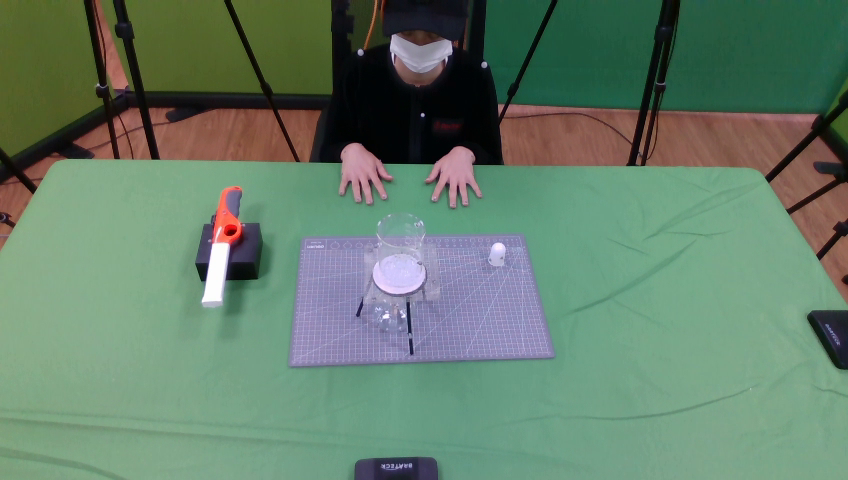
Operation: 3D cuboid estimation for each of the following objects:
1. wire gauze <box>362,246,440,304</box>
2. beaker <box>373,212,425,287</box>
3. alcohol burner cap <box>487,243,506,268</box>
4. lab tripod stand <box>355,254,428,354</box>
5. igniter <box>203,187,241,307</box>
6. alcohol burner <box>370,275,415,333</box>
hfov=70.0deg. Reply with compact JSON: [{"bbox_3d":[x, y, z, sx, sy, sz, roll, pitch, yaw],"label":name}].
[{"bbox_3d":[-0.038,0.052,0.972,0.121,0.011,0.124,0,44,-5],"label":"wire gauze"},{"bbox_3d":[-0.036,0.019,0.936,0.074,0.101,0.083,-29,54,-26],"label":"beaker"},{"bbox_3d":[0.141,0.027,1.166,0.034,0.048,0.033,2,45,-2],"label":"alcohol burner cap"},{"bbox_3d":[-0.046,0.100,1.017,0.148,0.132,0.147,1,47,-1],"label":"lab tripod stand"},{"bbox_3d":[-0.365,0.003,1.098,0.057,0.025,0.274,-1,49,-7],"label":"igniter"},{"bbox_3d":[-0.054,0.103,1.026,0.078,0.120,0.077,1,44,-1],"label":"alcohol burner"}]
